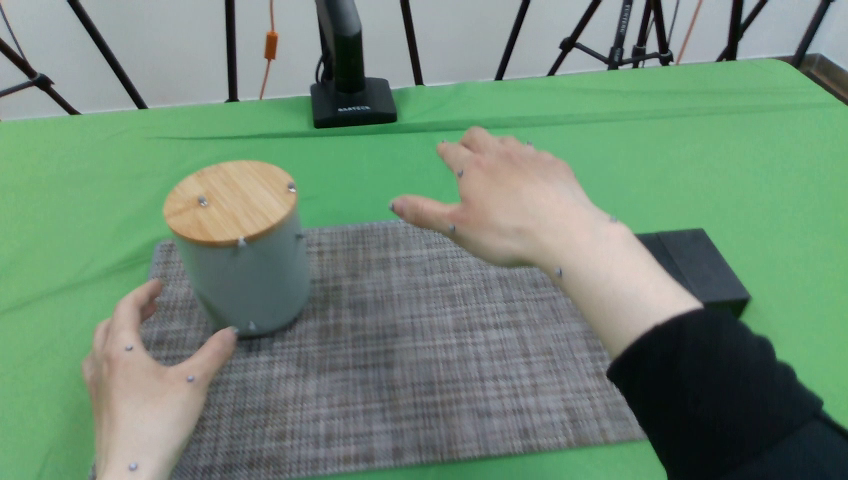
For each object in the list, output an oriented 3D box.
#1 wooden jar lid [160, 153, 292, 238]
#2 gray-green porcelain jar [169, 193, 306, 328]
[{"bbox_3d":[-0.166,-0.036,0.517,0.108,0.021,0.107,1,44,-1],"label":"wooden jar lid"},{"bbox_3d":[-0.166,0.010,0.559,0.106,0.127,0.105,0,42,0],"label":"gray-green porcelain jar"}]
